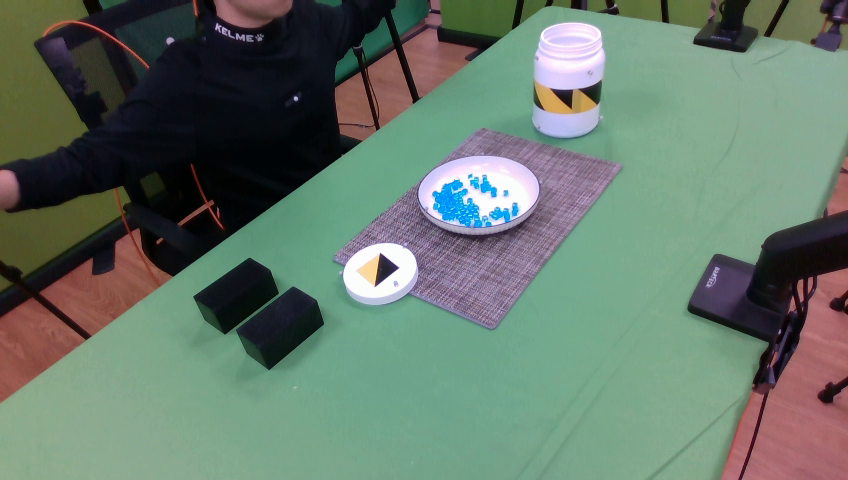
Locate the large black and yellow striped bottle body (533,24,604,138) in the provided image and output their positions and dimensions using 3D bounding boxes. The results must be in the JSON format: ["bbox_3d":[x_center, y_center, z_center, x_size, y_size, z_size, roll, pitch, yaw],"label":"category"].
[{"bbox_3d":[0.274,-0.304,1.160,0.131,0.185,0.130,-4,41,4],"label":"large black and yellow striped bottle body"}]

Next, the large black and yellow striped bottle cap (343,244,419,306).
[{"bbox_3d":[-0.066,0.051,0.918,0.115,0.019,0.114,-6,43,6],"label":"large black and yellow striped bottle cap"}]

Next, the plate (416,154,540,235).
[{"bbox_3d":[0.090,-0.074,1.025,0.207,0.039,0.206,-4,41,4],"label":"plate"}]
